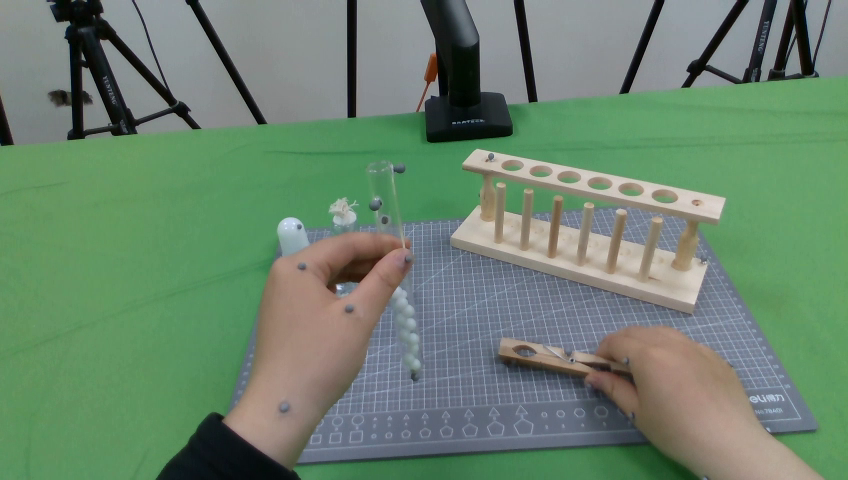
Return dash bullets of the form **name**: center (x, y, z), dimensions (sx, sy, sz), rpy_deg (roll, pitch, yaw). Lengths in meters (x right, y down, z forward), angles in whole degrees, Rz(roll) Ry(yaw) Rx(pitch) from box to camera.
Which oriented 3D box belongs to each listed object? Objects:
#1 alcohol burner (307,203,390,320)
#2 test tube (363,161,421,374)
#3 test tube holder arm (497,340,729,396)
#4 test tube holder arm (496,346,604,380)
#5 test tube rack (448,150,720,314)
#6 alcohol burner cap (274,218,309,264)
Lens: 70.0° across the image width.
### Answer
- **alcohol burner**: center (-0.070, 0.015, 0.551), dimensions (0.078, 0.120, 0.077), rpy_deg (-2, 39, 2)
- **test tube**: center (-0.018, 0.023, 0.378), dimensions (0.017, 0.151, 0.017), rpy_deg (-6, 27, 4)
- **test tube holder arm**: center (0.147, 0.101, 0.485), dimensions (0.178, 0.015, 0.013), rpy_deg (7, 70, 17)
- **test tube holder arm**: center (0.103, 0.101, 0.496), dimensions (0.087, 0.015, 0.010), rpy_deg (8, 70, 17)
- **test tube rack**: center (0.143, -0.014, 0.586), dimensions (0.241, 0.086, 0.066), rpy_deg (16, 43, 25)
- **alcohol burner cap**: center (-0.142, -0.002, 0.641), dimensions (0.034, 0.048, 0.033), rpy_deg (-2, 39, 2)
